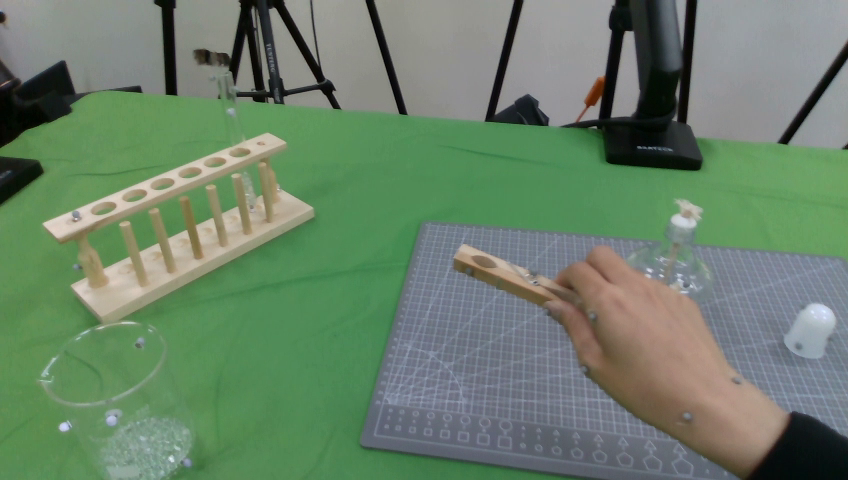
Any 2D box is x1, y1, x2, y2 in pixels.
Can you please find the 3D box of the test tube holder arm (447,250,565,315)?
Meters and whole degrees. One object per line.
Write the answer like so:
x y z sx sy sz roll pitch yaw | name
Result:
0.057 0.029 0.421 0.087 0.015 0.010 22 56 16 | test tube holder arm

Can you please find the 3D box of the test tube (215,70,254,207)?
-0.198 -0.103 0.639 0.017 0.151 0.017 -1 31 1 | test tube

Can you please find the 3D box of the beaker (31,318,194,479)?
-0.208 0.116 0.419 0.084 0.101 0.073 -9 38 -12 | beaker

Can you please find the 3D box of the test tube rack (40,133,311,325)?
-0.235 -0.021 0.615 0.066 0.086 0.242 29 45 32 | test tube rack

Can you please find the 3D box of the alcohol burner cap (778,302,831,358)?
0.331 0.075 0.524 0.034 0.048 0.033 0 36 0 | alcohol burner cap

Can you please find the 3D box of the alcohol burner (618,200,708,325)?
0.216 0.017 0.540 0.078 0.120 0.077 0 35 0 | alcohol burner

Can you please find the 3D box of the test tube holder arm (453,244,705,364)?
0.100 0.041 0.411 0.177 0.015 0.013 22 56 16 | test tube holder arm
